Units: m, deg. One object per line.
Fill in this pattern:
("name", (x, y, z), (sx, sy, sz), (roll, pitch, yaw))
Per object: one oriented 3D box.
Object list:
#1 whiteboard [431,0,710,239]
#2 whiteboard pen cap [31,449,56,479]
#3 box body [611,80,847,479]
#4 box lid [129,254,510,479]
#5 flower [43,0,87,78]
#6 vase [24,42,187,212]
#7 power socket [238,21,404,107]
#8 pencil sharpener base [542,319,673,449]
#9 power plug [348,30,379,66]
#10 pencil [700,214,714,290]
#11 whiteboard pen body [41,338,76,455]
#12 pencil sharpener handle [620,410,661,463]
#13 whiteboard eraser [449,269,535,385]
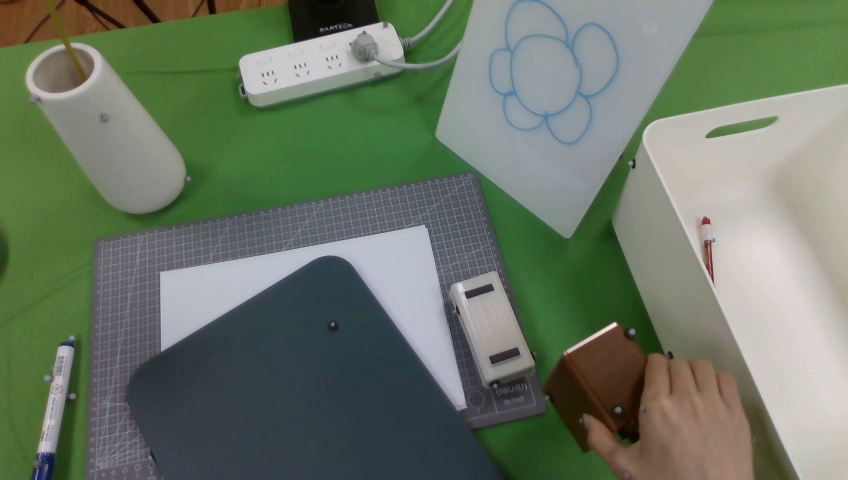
("whiteboard", (0.164, -0.194, 0.657), (0.215, 0.307, 0.144), (41, 51, 20))
("whiteboard pen cap", (-0.358, 0.214, 0.571), (0.018, 0.018, 0.033), (-7, 57, -2))
("box body", (0.361, 0.053, 0.575), (0.254, 0.161, 0.360), (-12, 64, -6))
("box lid", (-0.098, 0.203, 0.586), (0.263, 0.015, 0.368), (-33, 68, -15))
("flower", (-0.330, -0.167, 0.579), (0.038, 0.365, 0.043), (-22, 46, -18))
("vase", (-0.332, -0.112, 0.643), (0.098, 0.201, 0.097), (-1, 63, 2))
("power socket", (-0.134, -0.233, 0.796), (0.227, 0.033, 0.071), (-16, 65, -8))
("pencil sharpener base", (0.152, 0.128, 0.514), (0.061, 0.108, 0.076), (-26, 65, -13))
("power plug", (-0.077, -0.233, 0.770), (0.035, 0.053, 0.072), (-7, 65, -3))
("pencil", (0.309, 0.059, 0.653), (0.012, 0.012, 0.192), (6, 66, 4))
("whiteboard pen body", (-0.364, 0.164, 0.601), (0.017, 0.017, 0.139), (-7, 59, -3))
("pencil sharpener handle", (0.179, 0.160, 0.483), (0.036, 0.068, 0.030), (-30, 66, -3))
("whiteboard eraser", (0.069, 0.088, 0.624), (0.056, 0.042, 0.111), (-16, 64, -9))
